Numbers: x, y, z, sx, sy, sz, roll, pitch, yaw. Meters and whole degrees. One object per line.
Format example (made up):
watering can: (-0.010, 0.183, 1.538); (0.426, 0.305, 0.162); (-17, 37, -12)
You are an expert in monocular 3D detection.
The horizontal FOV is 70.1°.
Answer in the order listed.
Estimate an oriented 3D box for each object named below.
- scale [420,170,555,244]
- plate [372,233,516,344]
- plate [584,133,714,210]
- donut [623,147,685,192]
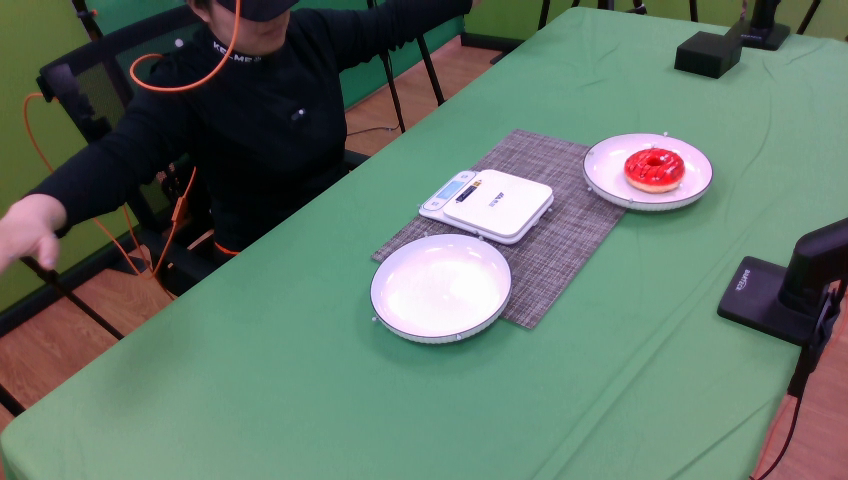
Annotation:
scale: (0.106, -0.065, 1.029); (0.199, 0.032, 0.149); (21, 48, 32)
plate: (0.030, 0.072, 0.879); (0.207, 0.039, 0.206); (-6, 42, 6)
plate: (0.379, -0.113, 1.030); (0.209, 0.038, 0.208); (-4, 41, 4)
donut: (0.388, -0.119, 1.019); (0.099, 0.048, 0.098); (-4, 42, 4)
